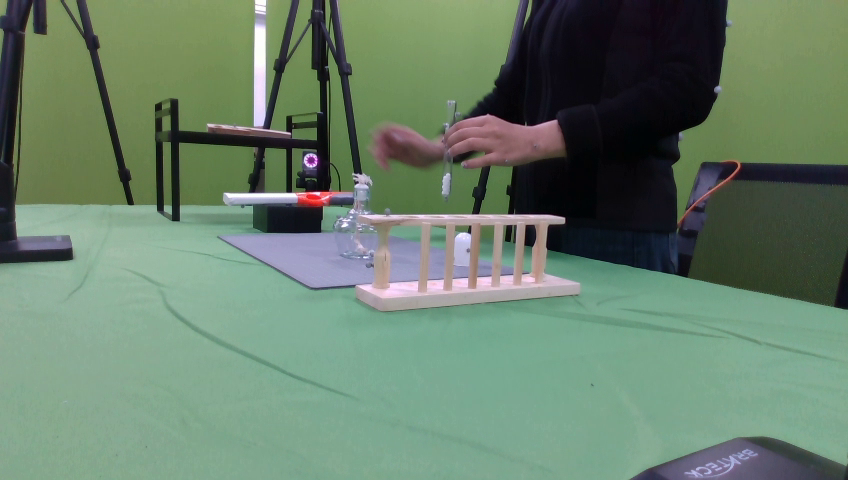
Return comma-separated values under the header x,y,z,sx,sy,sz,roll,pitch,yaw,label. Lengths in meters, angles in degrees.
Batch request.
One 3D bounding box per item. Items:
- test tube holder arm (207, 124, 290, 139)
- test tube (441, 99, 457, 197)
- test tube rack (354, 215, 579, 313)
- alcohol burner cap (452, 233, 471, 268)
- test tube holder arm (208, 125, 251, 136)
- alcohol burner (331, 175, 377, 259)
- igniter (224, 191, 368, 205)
x,y,z,sx,sy,sz,roll,pitch,yaw,label
-0.381,-0.238,1.327,0.179,0.015,0.013,0,42,-32,test tube holder arm
0.038,-0.142,0.940,0.017,0.150,0.017,3,12,0,test tube
0.053,0.019,0.635,0.243,0.085,0.066,-1,8,-29,test tube rack
0.053,0.014,0.823,0.034,0.048,0.034,3,6,0,alcohol burner cap
-0.418,-0.234,1.300,0.088,0.015,0.010,1,41,-32,test tube holder arm
-0.091,-0.033,0.855,0.078,0.119,0.078,4,7,0,alcohol burner
-0.237,-0.079,1.157,0.278,0.025,0.057,-2,21,-31,igniter
